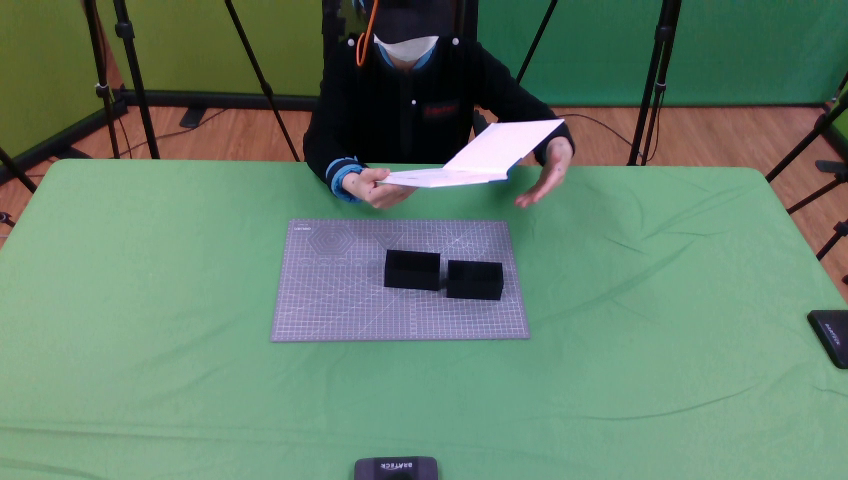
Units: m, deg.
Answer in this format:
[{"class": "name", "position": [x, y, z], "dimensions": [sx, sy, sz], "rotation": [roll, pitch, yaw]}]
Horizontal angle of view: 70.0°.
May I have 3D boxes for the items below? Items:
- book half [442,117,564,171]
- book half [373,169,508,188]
[{"class": "book half", "position": [0.132, -0.170, 1.074], "dimensions": [0.143, 0.007, 0.209], "rotation": [-43, 24, -17]}, {"class": "book half", "position": [0.020, -0.105, 1.018], "dimensions": [0.149, 0.016, 0.209], "rotation": [-7, 12, -27]}]
